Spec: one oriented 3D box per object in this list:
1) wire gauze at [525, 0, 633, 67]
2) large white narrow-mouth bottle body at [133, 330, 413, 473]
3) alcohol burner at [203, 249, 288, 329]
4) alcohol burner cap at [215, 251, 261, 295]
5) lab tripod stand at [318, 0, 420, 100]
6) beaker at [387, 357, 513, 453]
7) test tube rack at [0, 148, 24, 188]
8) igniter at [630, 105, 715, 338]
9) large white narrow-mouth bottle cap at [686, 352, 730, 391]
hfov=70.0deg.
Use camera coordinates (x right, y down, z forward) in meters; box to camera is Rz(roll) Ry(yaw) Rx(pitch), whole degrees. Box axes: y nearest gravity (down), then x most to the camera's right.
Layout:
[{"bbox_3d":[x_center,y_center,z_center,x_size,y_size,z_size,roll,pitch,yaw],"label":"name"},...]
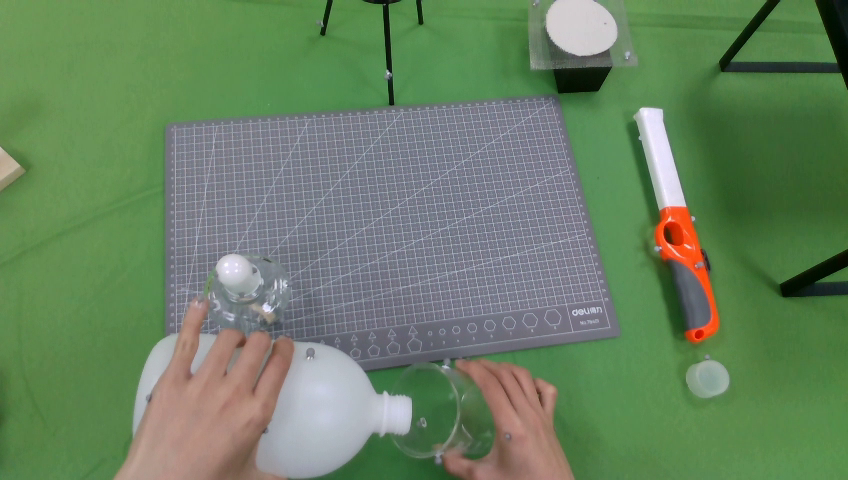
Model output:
[{"bbox_3d":[0.177,-0.253,0.706,0.121,0.011,0.124,1,68,-5],"label":"wire gauze"},{"bbox_3d":[-0.106,0.125,0.464,0.195,0.102,0.101,6,68,-8],"label":"large white narrow-mouth bottle body"},{"bbox_3d":[-0.165,0.039,0.553,0.078,0.120,0.077,3,67,-6],"label":"alcohol burner"},{"bbox_3d":[-0.162,0.027,0.519,0.034,0.048,0.033,1,73,-2],"label":"alcohol burner cap"},{"bbox_3d":[-0.051,-0.252,0.669,0.148,0.132,0.147,3,69,-6],"label":"lab tripod stand"},{"bbox_3d":[0.024,0.144,0.524,0.083,0.101,0.073,-16,67,33],"label":"beaker"},{"bbox_3d":[-0.518,-0.027,0.561,0.066,0.085,0.242,40,70,10],"label":"test tube rack"},{"bbox_3d":[0.273,-0.028,0.671,0.057,0.025,0.274,1,69,-16],"label":"igniter"},{"bbox_3d":[0.287,0.133,0.614,0.038,0.024,0.037,2,68,-4],"label":"large white narrow-mouth bottle cap"}]
